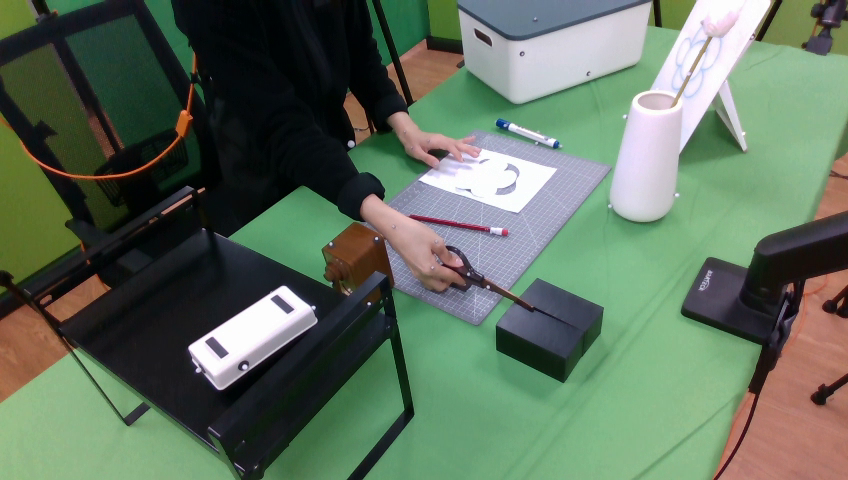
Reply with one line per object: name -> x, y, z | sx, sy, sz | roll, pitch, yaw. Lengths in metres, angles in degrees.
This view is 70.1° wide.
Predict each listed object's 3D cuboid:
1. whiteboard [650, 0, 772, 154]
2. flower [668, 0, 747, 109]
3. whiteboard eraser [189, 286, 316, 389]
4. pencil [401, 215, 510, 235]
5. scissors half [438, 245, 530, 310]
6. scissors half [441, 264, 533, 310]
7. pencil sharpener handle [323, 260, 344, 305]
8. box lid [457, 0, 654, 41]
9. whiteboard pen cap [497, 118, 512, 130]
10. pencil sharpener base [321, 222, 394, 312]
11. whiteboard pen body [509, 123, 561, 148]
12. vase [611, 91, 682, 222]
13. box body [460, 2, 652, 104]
whiteboard -> 0.543, -0.298, 1.076 | 0.144, 0.305, 0.216 | 12, 40, -7
flower -> 0.354, -0.187, 0.879 | 0.038, 0.362, 0.044 | 30, 48, 14
whiteboard eraser -> -0.166, 0.096, 0.593 | 0.113, 0.042, 0.055 | -36, 47, -29
pencil -> 0.049, -0.027, 1.007 | 0.193, 0.012, 0.012 | 10, 43, 21
scissors half -> 0.082, 0.052, 0.833 | 0.013, 0.040, 0.173 | -37, 51, -26
scissors half -> 0.085, 0.068, 0.845 | 0.013, 0.040, 0.173 | -32, 32, -29
pencil sharpener handle -> -0.131, 0.062, 0.839 | 0.035, 0.068, 0.031 | 29, 55, 28
box lid -> 0.285, -0.522, 1.323 | 0.373, 0.015, 0.261 | -22, 43, -16
whiteboard pen cap -> 0.165, -0.235, 1.227 | 0.033, 0.018, 0.018 | 31, 53, 31
pencil sharpener base -> -0.096, 0.041, 0.873 | 0.061, 0.107, 0.077 | 26, 54, 32
whiteboard pen body -> 0.208, -0.211, 1.195 | 0.139, 0.017, 0.017 | 30, 52, 33
vase -> 0.348, -0.125, 0.935 | 0.098, 0.201, 0.097 | -3, 40, 3
box body -> 0.291, -0.465, 1.371 | 0.365, 0.161, 0.252 | -22, 42, -16
